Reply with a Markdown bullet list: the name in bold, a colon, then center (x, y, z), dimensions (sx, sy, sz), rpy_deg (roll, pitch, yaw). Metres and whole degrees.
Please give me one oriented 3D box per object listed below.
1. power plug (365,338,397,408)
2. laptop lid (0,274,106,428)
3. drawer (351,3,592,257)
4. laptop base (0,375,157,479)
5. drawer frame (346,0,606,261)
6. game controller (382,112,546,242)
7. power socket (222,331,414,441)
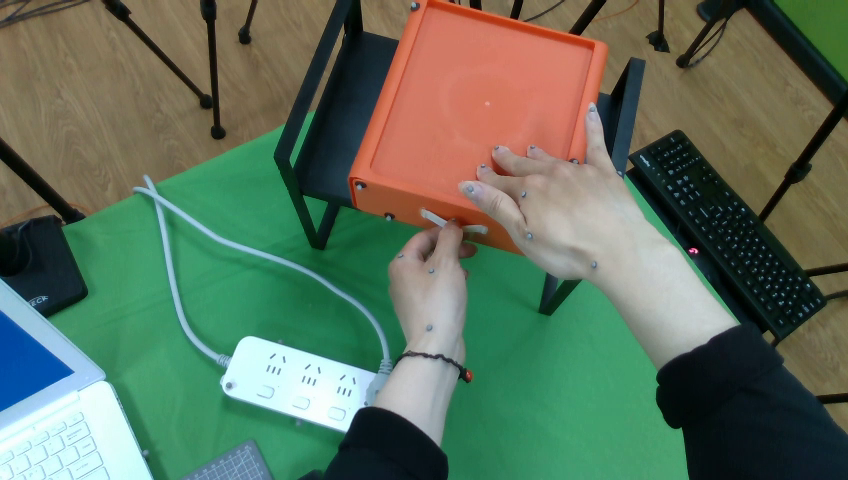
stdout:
- **power plug**: center (-0.040, 0.153, 0.681), dimensions (0.035, 0.053, 0.072), rpy_deg (27, 70, 8)
- **laptop lid**: center (-0.533, 0.158, 0.575), dimensions (0.357, 0.244, 0.013), rpy_deg (-30, 49, -12)
- **drawer**: center (0.055, -0.108, 0.589), dimensions (0.194, 0.073, 0.210), rpy_deg (16, 69, 3)
- **laptop base**: center (-0.451, 0.328, 0.630), dimensions (0.354, 0.023, 0.234), rpy_deg (-29, 77, -13)
- **drawer frame**: center (0.054, -0.111, 0.589), dimensions (0.201, 0.083, 0.212), rpy_deg (15, 70, 3)
- **game controller**: center (0.043, -0.066, 0.588), dimensions (0.155, 0.052, 0.096), rpy_deg (18, 75, 6)
- **power socket**: center (-0.121, 0.167, 0.697), dimensions (0.226, 0.033, 0.072), rpy_deg (17, 70, 4)
